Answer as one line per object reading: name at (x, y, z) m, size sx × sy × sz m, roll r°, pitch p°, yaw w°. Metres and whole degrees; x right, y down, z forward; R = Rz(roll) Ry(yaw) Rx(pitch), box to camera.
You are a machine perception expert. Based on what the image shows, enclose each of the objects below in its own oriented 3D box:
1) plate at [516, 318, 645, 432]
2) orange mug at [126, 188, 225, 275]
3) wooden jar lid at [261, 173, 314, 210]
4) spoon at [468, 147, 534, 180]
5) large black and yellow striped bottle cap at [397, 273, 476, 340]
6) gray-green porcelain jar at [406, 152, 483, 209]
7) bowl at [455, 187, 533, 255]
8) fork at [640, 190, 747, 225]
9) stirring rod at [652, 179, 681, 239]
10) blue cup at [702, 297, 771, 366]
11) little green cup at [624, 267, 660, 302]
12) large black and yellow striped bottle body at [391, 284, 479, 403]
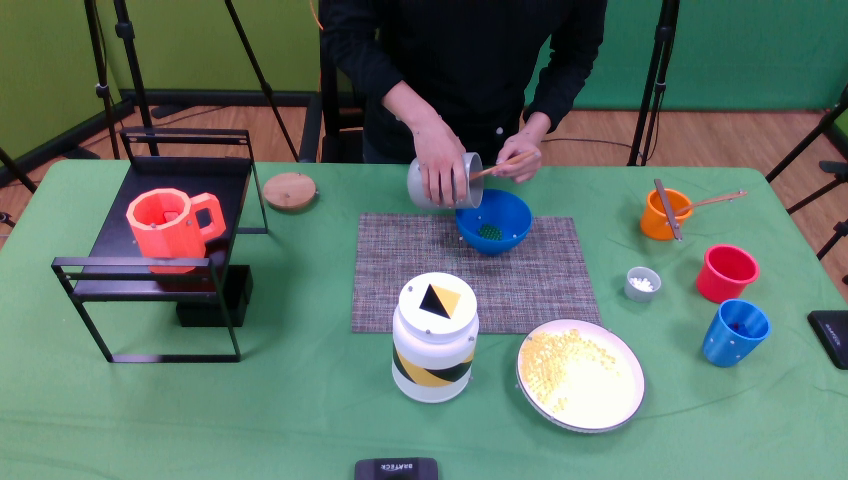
plate at (0.253, 0.221, 0.992) m, size 0.209 × 0.038 × 0.208 m, roll 2°, pitch 46°, yaw -2°
orange mug at (-0.357, -0.019, 0.884) m, size 0.126 × 0.101 × 0.083 m, roll -29°, pitch 54°, yaw -23°
wooden jar lid at (-0.286, -0.101, 1.273) m, size 0.108 × 0.021 × 0.107 m, roll 3°, pitch 45°, yaw -3°
spoon at (0.114, -0.131, 1.117) m, size 0.193 × 0.022 × 0.041 m, roll -19°, pitch 42°, yaw 20°
large black and yellow striped bottle cap at (0.018, 0.094, 0.878) m, size 0.115 × 0.019 × 0.114 m, roll 3°, pitch 46°, yaw -3°
gray-green porcelain jar at (0.037, -0.112, 1.142) m, size 0.126 × 0.106 × 0.105 m, roll 1°, pitch 44°, yaw 20°
bowl at (0.131, -0.025, 1.186) m, size 0.151 × 0.077 × 0.150 m, roll 2°, pitch 46°, yaw -2°
fork at (0.533, -0.065, 1.211) m, size 0.207 × 0.019 × 0.028 m, roll -22°, pitch 28°, yaw 39°
stirring rod at (0.480, -0.065, 1.204) m, size 0.014 × 0.006 × 0.175 m, roll 2°, pitch 46°, yaw -1°
blue cup at (0.519, 0.162, 1.025) m, size 0.093 × 0.101 × 0.092 m, roll 3°, pitch 45°, yaw -3°
little green cup at (0.406, 0.084, 1.135) m, size 0.061 × 0.039 × 0.061 m, roll 3°, pitch 45°, yaw -3°
large black and yellow striped bottle body at (0.015, 0.153, 0.938) m, size 0.131 × 0.185 × 0.130 m, roll 2°, pitch 46°, yaw -2°
